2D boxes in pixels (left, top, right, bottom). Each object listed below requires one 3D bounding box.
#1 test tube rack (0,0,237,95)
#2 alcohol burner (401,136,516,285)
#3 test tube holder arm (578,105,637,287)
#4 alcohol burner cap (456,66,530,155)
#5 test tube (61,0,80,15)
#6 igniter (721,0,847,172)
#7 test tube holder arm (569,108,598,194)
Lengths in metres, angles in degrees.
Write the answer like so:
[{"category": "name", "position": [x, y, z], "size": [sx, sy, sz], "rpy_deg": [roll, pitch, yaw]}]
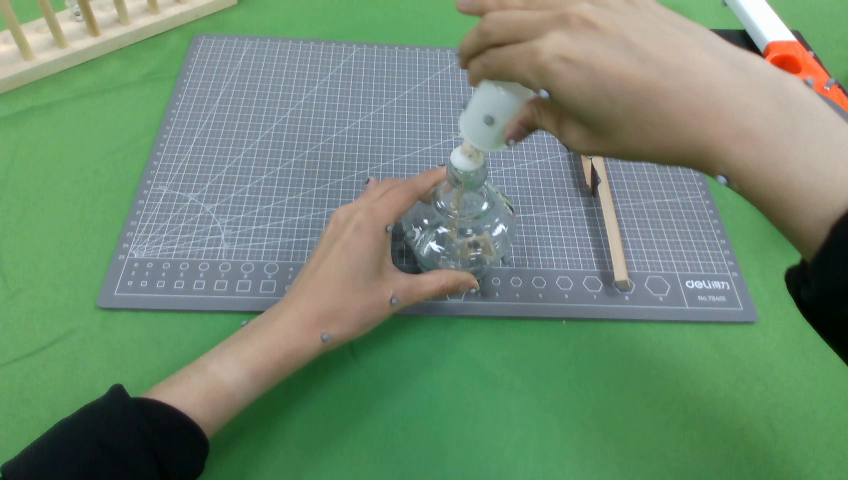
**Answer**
[{"category": "test tube rack", "position": [-0.297, -0.221, 0.537], "size": [0.242, 0.086, 0.066], "rpy_deg": [-34, 63, -26]}, {"category": "alcohol burner", "position": [0.024, -0.023, 0.395], "size": [0.078, 0.120, 0.077], "rpy_deg": [2, 54, -2]}, {"category": "test tube holder arm", "position": [0.142, -0.041, 0.478], "size": [0.013, 0.015, 0.176], "rpy_deg": [-22, 50, 23]}, {"category": "alcohol burner cap", "position": [0.039, -0.073, 0.330], "size": [0.034, 0.048, 0.033], "rpy_deg": [8, 57, -13]}, {"category": "test tube", "position": [-0.313, -0.257, 0.500], "size": [0.017, 0.151, 0.017], "rpy_deg": [4, 50, -4]}, {"category": "igniter", "position": [0.307, -0.158, 0.521], "size": [0.057, 0.025, 0.273], "rpy_deg": [-2, 51, -3]}, {"category": "test tube holder arm", "position": [0.135, -0.076, 0.506], "size": [0.010, 0.015, 0.087], "rpy_deg": [-21, 51, 24]}]
